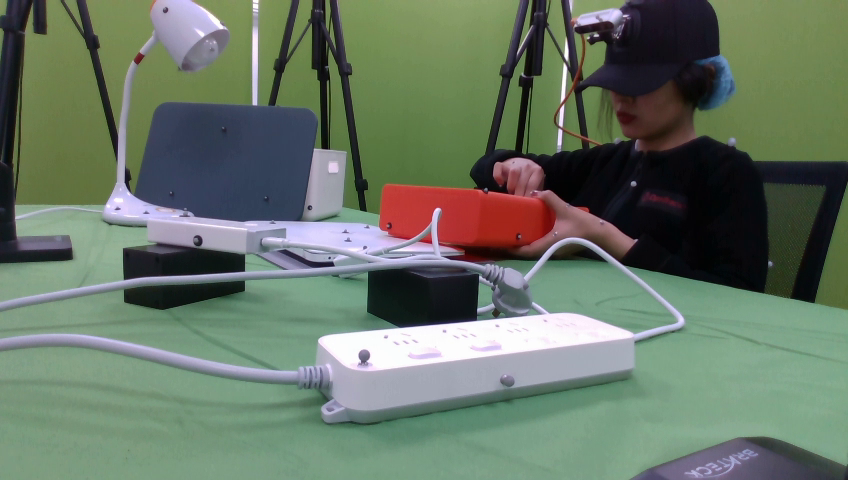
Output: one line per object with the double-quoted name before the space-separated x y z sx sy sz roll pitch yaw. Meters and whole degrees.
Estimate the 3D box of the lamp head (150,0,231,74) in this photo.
"lamp head" -0.432 -0.375 1.086 0.123 0.112 0.112 42 8 -3

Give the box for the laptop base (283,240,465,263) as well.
"laptop base" -0.125 0.003 0.946 0.237 0.023 0.352 1 6 -31

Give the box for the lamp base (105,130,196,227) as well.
"lamp base" -0.532 -0.120 1.153 0.179 0.180 0.161 1 7 8

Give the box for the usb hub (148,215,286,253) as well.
"usb hub" -0.197 -0.006 0.575 0.125 0.025 0.050 6 7 22

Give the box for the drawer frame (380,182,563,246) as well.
"drawer frame" 0.076 -0.040 0.955 0.200 0.082 0.215 8 4 42

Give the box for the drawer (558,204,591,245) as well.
"drawer" 0.144 -0.035 1.029 0.193 0.073 0.213 7 3 44

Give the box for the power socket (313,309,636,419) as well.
"power socket" 0.039 0.072 0.385 0.228 0.032 0.072 -2 7 -28

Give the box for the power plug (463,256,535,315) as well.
"power plug" 0.064 0.039 0.530 0.072 0.052 0.035 31 43 7

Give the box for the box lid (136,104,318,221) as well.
"box lid" -0.411 -0.162 1.266 0.371 0.263 0.015 3 -15 9

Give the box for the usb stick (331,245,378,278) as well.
"usb stick" -0.085 0.026 0.701 0.059 0.027 0.021 -18 19 27

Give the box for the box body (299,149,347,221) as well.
"box body" -0.384 -0.137 1.407 0.364 0.160 0.254 3 8 7

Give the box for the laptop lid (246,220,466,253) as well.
"laptop lid" -0.123 -0.009 0.945 0.243 0.013 0.355 1 7 -29

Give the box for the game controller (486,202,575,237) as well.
"game controller" 0.181 -0.042 1.066 0.154 0.051 0.098 4 -8 44
